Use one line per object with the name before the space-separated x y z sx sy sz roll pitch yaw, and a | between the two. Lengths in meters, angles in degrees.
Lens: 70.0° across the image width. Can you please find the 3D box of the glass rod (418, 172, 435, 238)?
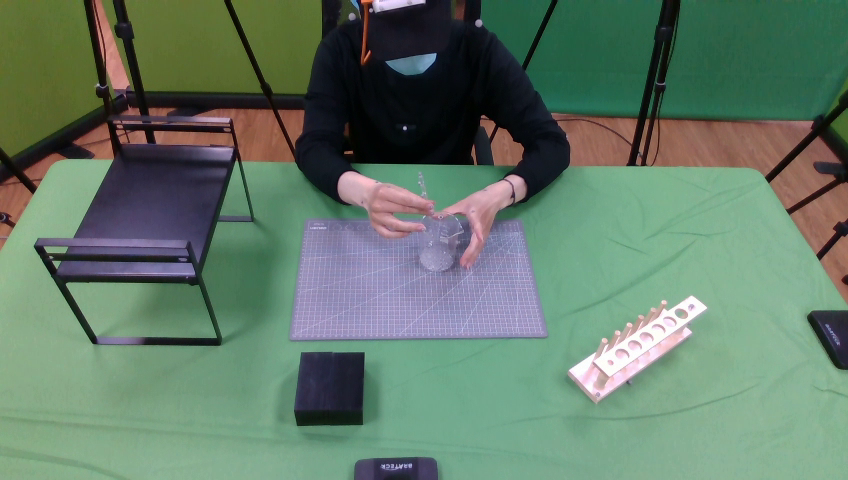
glass rod | 0.006 -0.057 1.058 0.008 0.201 0.008 -4 59 6

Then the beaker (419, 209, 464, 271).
beaker | 0.030 0.004 1.135 0.084 0.101 0.073 11 47 6

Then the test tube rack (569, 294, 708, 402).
test tube rack | 0.360 0.167 1.015 0.242 0.085 0.066 -25 52 -25
